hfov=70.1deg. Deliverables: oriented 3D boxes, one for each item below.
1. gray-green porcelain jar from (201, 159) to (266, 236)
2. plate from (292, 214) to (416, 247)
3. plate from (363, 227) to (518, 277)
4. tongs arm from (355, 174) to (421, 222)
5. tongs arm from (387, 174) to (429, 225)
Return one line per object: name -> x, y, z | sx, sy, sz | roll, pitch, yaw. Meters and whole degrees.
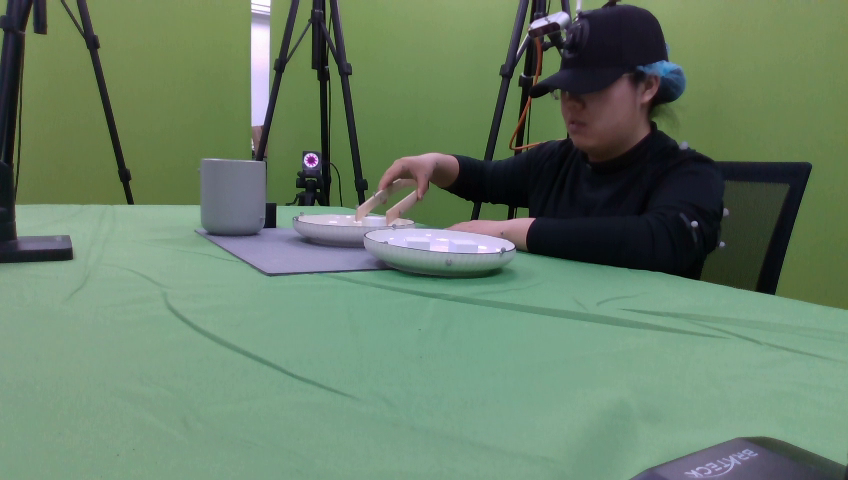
gray-green porcelain jar -> -0.326, -0.073, 1.036 | 0.106, 0.126, 0.106 | 3, 8, 0
plate -> -0.118, -0.017, 1.024 | 0.208, 0.039, 0.207 | 3, 7, 0
plate -> 0.022, 0.016, 0.817 | 0.209, 0.038, 0.209 | 4, 9, 0
tongs arm -> -0.062, -0.090, 1.207 | 0.051, 0.026, 0.385 | 4, 16, 8
tongs arm -> -0.029, -0.086, 1.201 | 0.028, 0.028, 0.388 | 1, 15, 10
